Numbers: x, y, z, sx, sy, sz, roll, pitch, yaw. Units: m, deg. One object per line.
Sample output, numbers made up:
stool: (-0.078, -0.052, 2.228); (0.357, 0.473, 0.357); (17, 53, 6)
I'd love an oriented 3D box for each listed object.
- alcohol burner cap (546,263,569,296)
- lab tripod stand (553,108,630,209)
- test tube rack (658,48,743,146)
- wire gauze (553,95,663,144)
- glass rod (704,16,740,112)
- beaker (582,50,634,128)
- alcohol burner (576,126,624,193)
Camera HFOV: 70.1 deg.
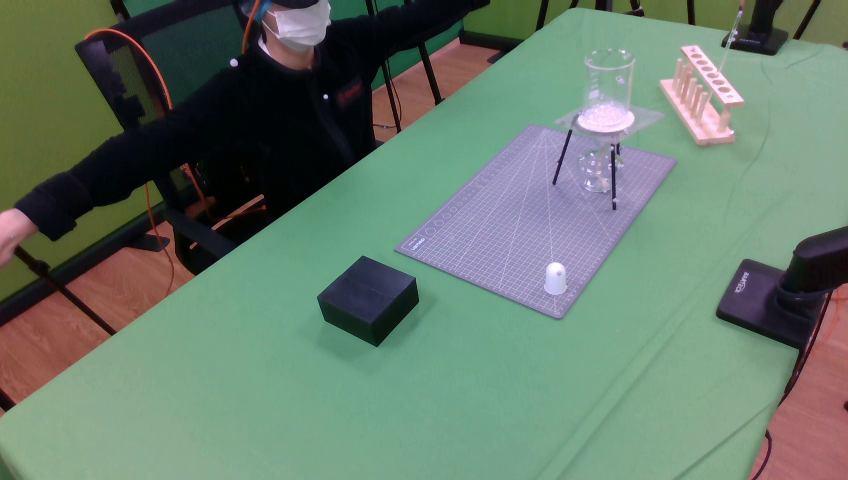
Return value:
alcohol burner cap: (0.191, 0.053, 0.862); (0.034, 0.048, 0.033); (-5, 40, 4)
lab tripod stand: (0.292, -0.144, 1.010); (0.148, 0.132, 0.147); (-5, 38, 4)
test tube rack: (0.532, -0.284, 1.180); (0.067, 0.085, 0.241); (-5, 40, 4)
wire gauze: (0.293, -0.191, 0.964); (0.125, 0.011, 0.120); (-29, 45, -29)
glass rod: (0.549, -0.319, 1.117); (0.008, 0.200, 0.008); (-2, 47, 3)
beaker: (0.285, -0.234, 0.939); (0.084, 0.101, 0.073); (-28, 43, -23)
alcohol burner: (0.298, -0.140, 1.019); (0.078, 0.119, 0.077); (-3, 40, 3)
